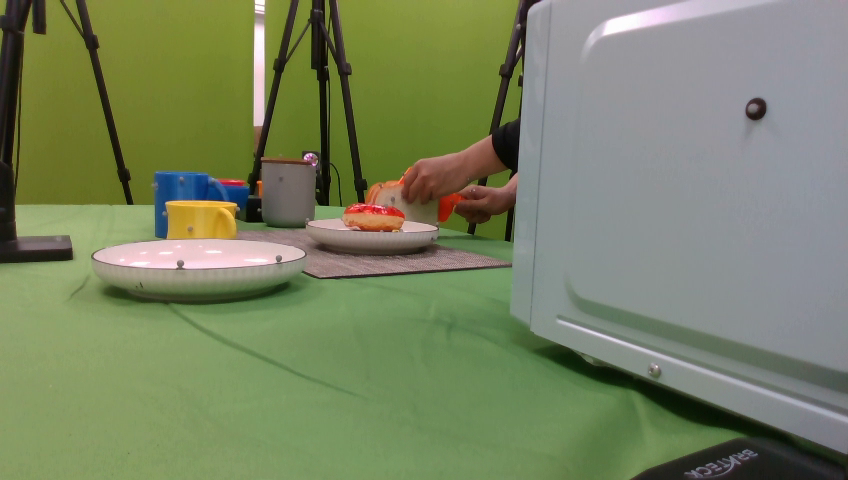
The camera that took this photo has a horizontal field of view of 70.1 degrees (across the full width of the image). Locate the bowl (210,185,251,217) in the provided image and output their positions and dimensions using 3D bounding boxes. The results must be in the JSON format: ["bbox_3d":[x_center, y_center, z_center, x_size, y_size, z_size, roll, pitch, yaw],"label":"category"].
[{"bbox_3d":[-0.408,-0.064,1.155,0.151,0.077,0.151,2,8,0],"label":"bowl"}]

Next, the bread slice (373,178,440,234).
[{"bbox_3d":[-0.031,-0.060,1.136,0.135,0.107,0.018,-5,9,-24],"label":"bread slice"}]

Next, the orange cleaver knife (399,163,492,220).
[{"bbox_3d":[0.039,-0.081,1.177,0.212,0.077,0.012,23,-3,-26],"label":"orange cleaver knife"}]

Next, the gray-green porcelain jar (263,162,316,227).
[{"bbox_3d":[-0.271,-0.092,1.217,0.106,0.126,0.106,2,7,0],"label":"gray-green porcelain jar"}]

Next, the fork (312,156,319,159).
[{"bbox_3d":[-0.331,-0.144,1.506,0.207,0.018,0.028,-42,-20,22],"label":"fork"}]

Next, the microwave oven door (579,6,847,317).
[{"bbox_3d":[0.294,-0.067,0.570,0.358,0.243,0.039,-3,9,-31],"label":"microwave oven door"}]

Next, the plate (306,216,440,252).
[{"bbox_3d":[-0.080,-0.011,0.949,0.209,0.038,0.209,2,8,0],"label":"plate"}]

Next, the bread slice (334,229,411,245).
[{"bbox_3d":[-0.075,-0.005,0.937,0.105,0.019,0.131,-2,4,-20],"label":"bread slice"}]

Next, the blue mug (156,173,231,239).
[{"bbox_3d":[-0.381,-0.057,1.004,0.117,0.106,0.082,0,8,-12],"label":"blue mug"}]

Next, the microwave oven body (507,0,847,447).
[{"bbox_3d":[0.331,-0.042,0.425,0.444,0.260,0.324,-2,8,-31],"label":"microwave oven body"}]

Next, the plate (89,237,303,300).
[{"bbox_3d":[-0.233,0.029,0.637,0.208,0.039,0.207,2,7,0],"label":"plate"}]

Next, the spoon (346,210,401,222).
[{"bbox_3d":[-0.121,-0.060,1.400,0.042,0.021,0.192,-28,25,-37],"label":"spoon"}]

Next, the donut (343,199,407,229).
[{"bbox_3d":[-0.077,-0.039,0.948,0.099,0.048,0.099,2,4,0],"label":"donut"}]

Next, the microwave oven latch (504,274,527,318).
[{"bbox_3d":[0.100,0.041,0.471,0.079,0.029,0.030,-1,8,-28],"label":"microwave oven latch"}]

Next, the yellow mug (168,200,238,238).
[{"bbox_3d":[-0.320,-0.023,0.904,0.130,0.064,0.100,9,11,36],"label":"yellow mug"}]

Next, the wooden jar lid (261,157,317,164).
[{"bbox_3d":[-0.269,-0.154,1.208,0.108,0.020,0.108,3,4,0],"label":"wooden jar lid"}]
